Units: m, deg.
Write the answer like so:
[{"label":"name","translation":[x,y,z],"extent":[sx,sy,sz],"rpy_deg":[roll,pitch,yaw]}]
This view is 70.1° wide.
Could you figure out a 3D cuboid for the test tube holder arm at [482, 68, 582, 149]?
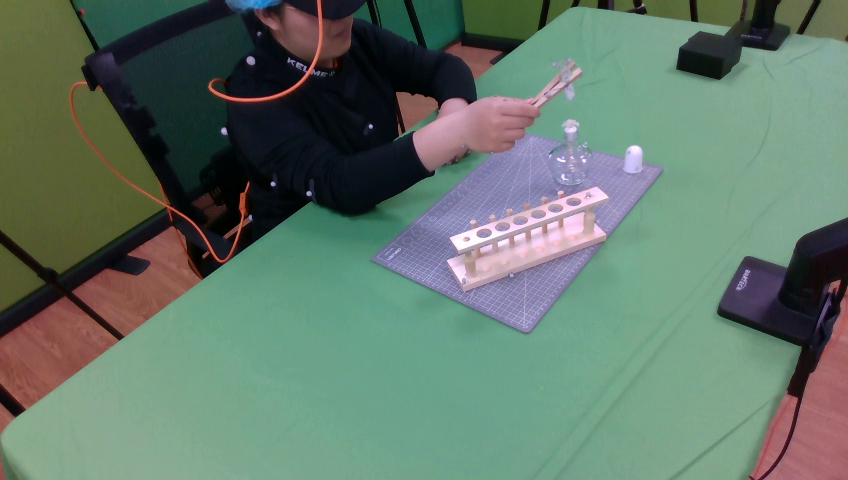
[{"label":"test tube holder arm","translation":[0.160,-0.195,0.906],"extent":[0.178,0.015,0.013],"rpy_deg":[-39,72,19]}]

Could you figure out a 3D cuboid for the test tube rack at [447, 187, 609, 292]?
[{"label":"test tube rack","translation":[0.155,-0.011,0.913],"extent":[0.243,0.085,0.066],"rpy_deg":[-19,41,-12]}]

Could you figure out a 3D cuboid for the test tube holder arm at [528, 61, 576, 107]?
[{"label":"test tube holder arm","translation":[0.188,-0.227,0.893],"extent":[0.087,0.015,0.010],"rpy_deg":[-46,70,17]}]

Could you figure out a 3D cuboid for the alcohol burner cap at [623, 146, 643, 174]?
[{"label":"alcohol burner cap","translation":[0.369,-0.143,1.061],"extent":[0.034,0.048,0.033],"rpy_deg":[-7,41,6]}]

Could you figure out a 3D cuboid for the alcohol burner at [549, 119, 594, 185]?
[{"label":"alcohol burner","translation":[0.254,-0.155,1.043],"extent":[0.078,0.120,0.077],"rpy_deg":[-7,40,6]}]

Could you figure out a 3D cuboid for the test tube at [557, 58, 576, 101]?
[{"label":"test tube","translation":[0.214,-0.237,0.903],"extent":[0.017,0.151,0.017],"rpy_deg":[-2,84,18]}]
